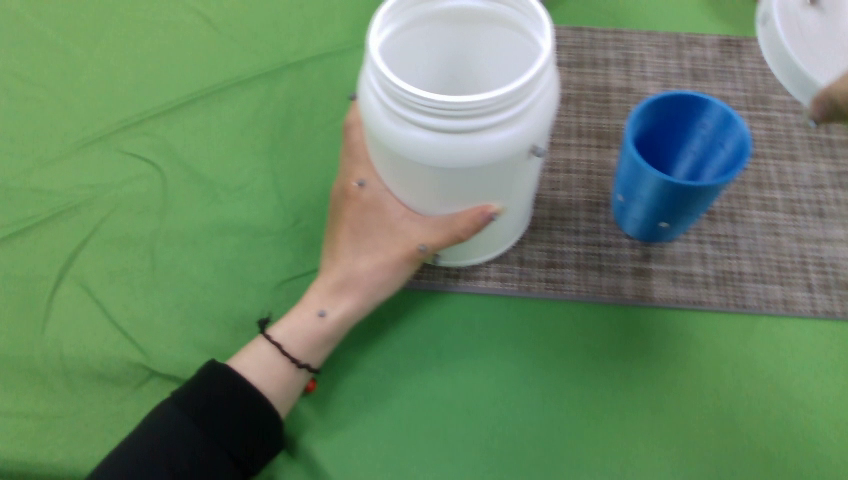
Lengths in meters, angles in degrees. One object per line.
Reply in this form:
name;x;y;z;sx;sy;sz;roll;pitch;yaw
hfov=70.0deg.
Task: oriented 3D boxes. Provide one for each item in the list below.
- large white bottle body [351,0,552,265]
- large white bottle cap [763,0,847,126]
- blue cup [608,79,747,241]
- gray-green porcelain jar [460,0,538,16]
large white bottle body;0.019;-0.078;0.432;0.130;0.186;0.129;-1;60;2
large white bottle cap;0.248;-0.113;0.334;0.115;0.018;0.114;0;71;-1
blue cup;0.181;-0.049;0.461;0.092;0.101;0.092;-1;59;3
gray-green porcelain jar;0.076;-0.296;0.592;0.106;0.127;0.105;-1;61;2
